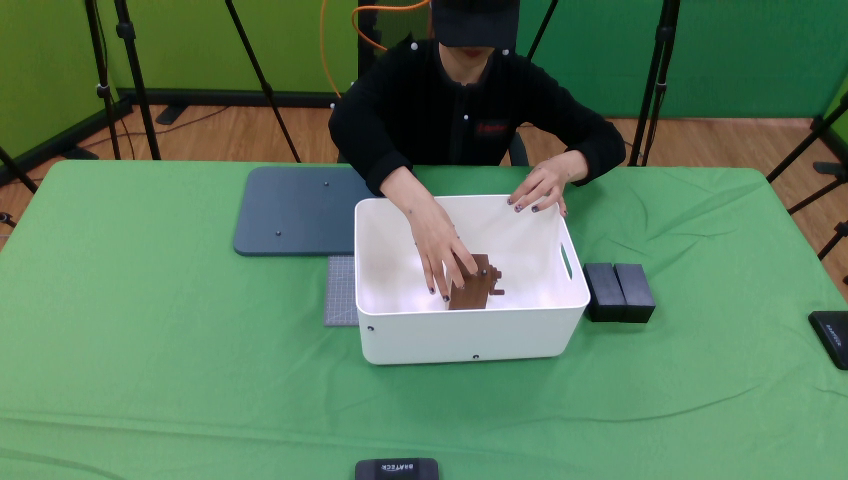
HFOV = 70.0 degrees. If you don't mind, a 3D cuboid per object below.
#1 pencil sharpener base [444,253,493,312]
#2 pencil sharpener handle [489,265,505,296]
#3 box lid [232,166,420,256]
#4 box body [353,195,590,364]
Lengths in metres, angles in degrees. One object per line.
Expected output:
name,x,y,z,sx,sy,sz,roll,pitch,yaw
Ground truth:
pencil sharpener base,0.077,0.079,1.056,0.077,0.107,0.061,0,44,-5
pencil sharpener handle,0.129,0.071,1.051,0.031,0.068,0.036,0,41,-4
box lid,-0.191,-0.066,1.255,0.372,0.015,0.261,-1,46,-4
box body,0.065,0.068,1.038,0.364,0.161,0.252,-2,46,-6
